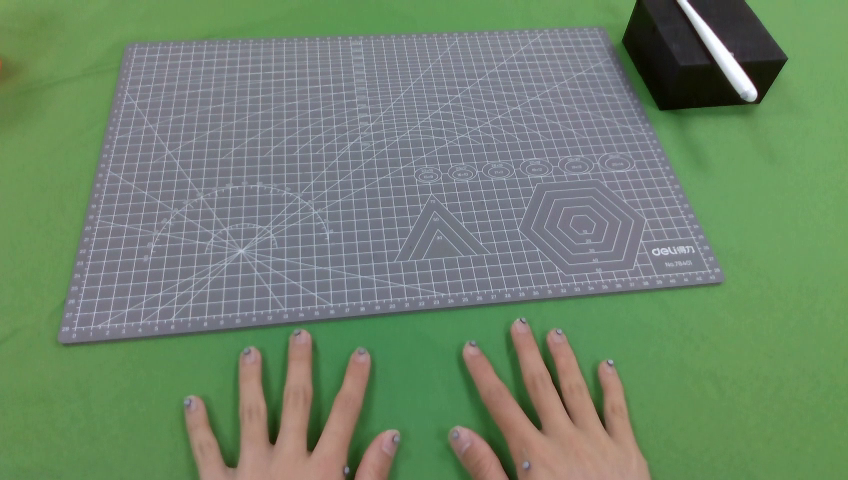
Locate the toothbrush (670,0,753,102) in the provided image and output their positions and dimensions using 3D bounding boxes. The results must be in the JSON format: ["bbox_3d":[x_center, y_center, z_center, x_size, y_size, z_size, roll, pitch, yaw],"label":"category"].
[{"bbox_3d":[0.237,-0.183,0.522,0.014,0.017,0.180,-6,55,-12],"label":"toothbrush"}]
